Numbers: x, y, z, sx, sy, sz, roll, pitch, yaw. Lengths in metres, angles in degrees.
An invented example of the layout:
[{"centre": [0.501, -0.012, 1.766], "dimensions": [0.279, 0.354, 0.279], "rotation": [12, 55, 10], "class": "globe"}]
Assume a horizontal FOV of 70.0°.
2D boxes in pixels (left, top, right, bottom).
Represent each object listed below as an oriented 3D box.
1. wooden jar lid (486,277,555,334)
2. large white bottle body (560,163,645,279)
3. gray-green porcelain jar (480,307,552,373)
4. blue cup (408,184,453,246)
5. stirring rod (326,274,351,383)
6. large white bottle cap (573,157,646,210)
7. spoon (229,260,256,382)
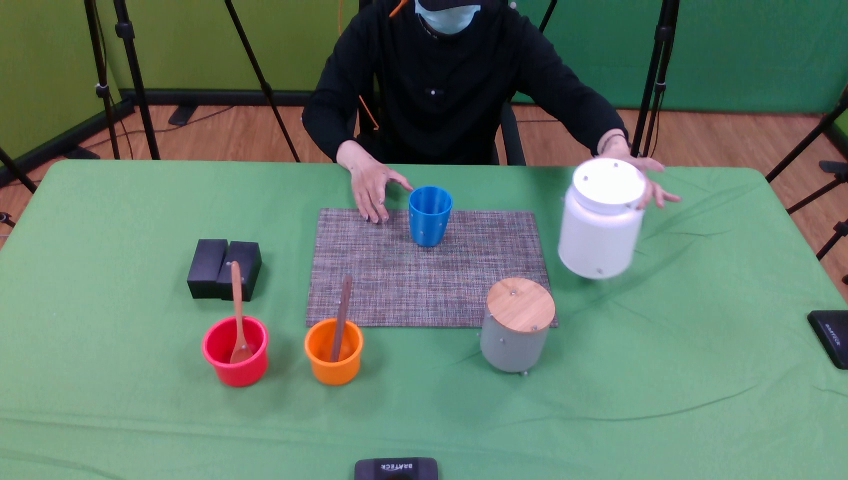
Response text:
[{"centre": [0.150, 0.105, 0.948], "dimensions": [0.108, 0.021, 0.107], "rotation": [3, 47, -3], "class": "wooden jar lid"}, {"centre": [0.309, -0.036, 1.054], "dimensions": [0.130, 0.185, 0.130], "rotation": [-3, 46, 3], "class": "large white bottle body"}, {"centre": [0.148, 0.148, 0.992], "dimensions": [0.106, 0.127, 0.105], "rotation": [2, 46, -2], "class": "gray-green porcelain jar"}, {"centre": [0.008, -0.042, 1.177], "dimensions": [0.093, 0.101, 0.092], "rotation": [3, 46, -3], "class": "blue cup"}, {"centre": [-0.137, 0.142, 0.971], "dimensions": [0.014, 0.006, 0.176], "rotation": [9, 89, 0], "class": "stirring rod"}, {"centre": [0.303, -0.094, 0.993], "dimensions": [0.115, 0.018, 0.114], "rotation": [-2, 46, 3], "class": "large white bottle cap"}, {"centre": [-0.294, 0.129, 0.966], "dimensions": [0.042, 0.021, 0.193], "rotation": [-4, 91, -9], "class": "spoon"}]
